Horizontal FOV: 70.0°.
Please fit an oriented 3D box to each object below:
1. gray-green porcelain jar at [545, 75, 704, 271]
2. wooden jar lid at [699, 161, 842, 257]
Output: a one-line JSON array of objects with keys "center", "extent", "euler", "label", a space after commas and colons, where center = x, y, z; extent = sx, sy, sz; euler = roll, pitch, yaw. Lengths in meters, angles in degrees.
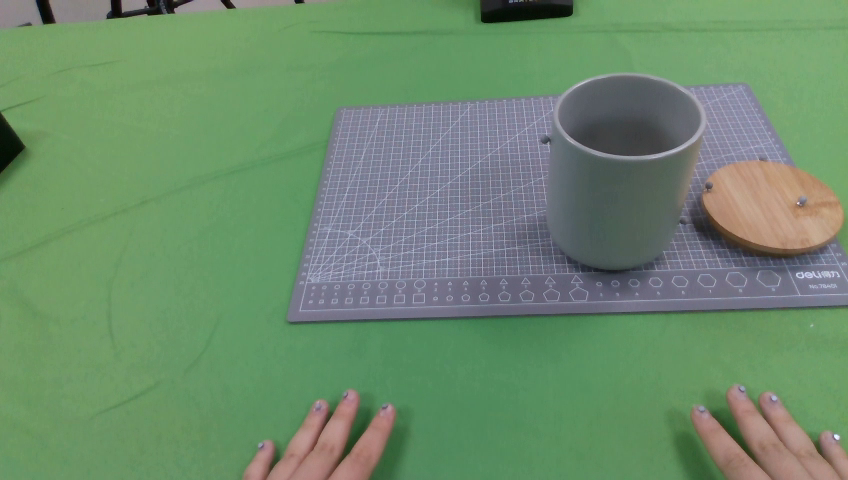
[{"center": [0.149, -0.046, 0.475], "extent": [0.106, 0.128, 0.105], "euler": [-4, 47, 5], "label": "gray-green porcelain jar"}, {"center": [0.289, -0.025, 0.511], "extent": [0.108, 0.021, 0.107], "euler": [-4, 46, 5], "label": "wooden jar lid"}]
